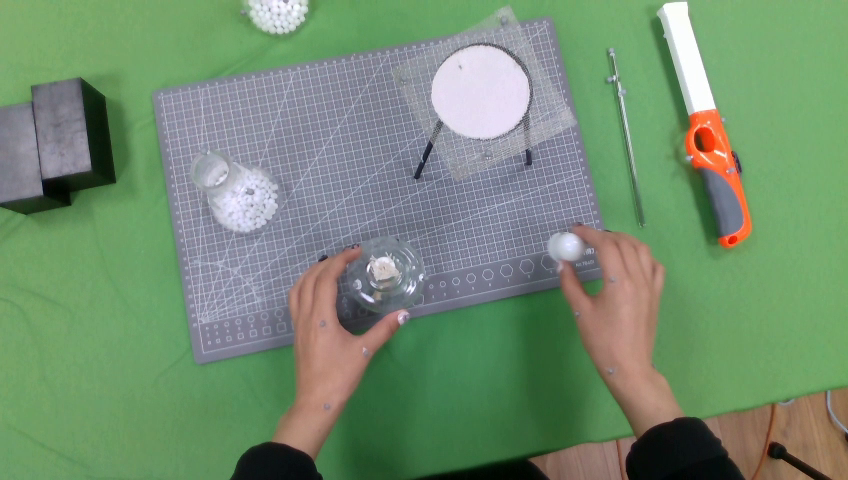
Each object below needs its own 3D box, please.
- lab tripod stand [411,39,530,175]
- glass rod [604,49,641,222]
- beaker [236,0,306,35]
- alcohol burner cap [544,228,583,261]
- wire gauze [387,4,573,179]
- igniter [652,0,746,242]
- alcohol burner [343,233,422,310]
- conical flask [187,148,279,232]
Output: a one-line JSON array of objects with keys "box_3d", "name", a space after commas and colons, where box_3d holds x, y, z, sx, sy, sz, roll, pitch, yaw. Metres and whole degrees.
[{"box_3d": [0.046, -0.123, 0.599, 0.148, 0.131, 0.148, 0, 84, -1], "name": "lab tripod stand"}, {"box_3d": [0.219, -0.117, 0.669, 0.008, 0.008, 0.199, -7, 82, -3], "name": "glass rod"}, {"box_3d": [-0.164, -0.270, 0.634, 0.074, 0.100, 0.084, 37, 82, 4], "name": "beaker"}, {"box_3d": [0.140, 0.003, 0.600, 0.034, 0.048, 0.034, 0, 85, -5], "name": "alcohol burner cap"}, {"box_3d": [0.049, -0.130, 0.532, 0.125, 0.011, 0.121, -28, 84, -5], "name": "wire gauze"}, {"box_3d": [0.301, -0.133, 0.664, 0.057, 0.025, 0.275, -11, 82, -14], "name": "igniter"}, {"box_3d": [-0.040, 0.029, 0.587, 0.078, 0.119, 0.077, 0, 81, -3], "name": "alcohol burner"}, {"box_3d": [-0.190, -0.053, 0.589, 0.075, 0.122, 0.075, 0, 82, -1], "name": "conical flask"}]
